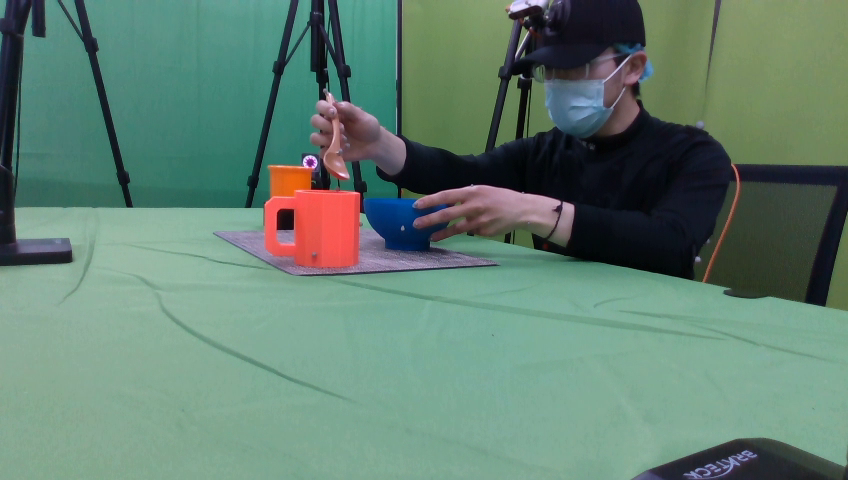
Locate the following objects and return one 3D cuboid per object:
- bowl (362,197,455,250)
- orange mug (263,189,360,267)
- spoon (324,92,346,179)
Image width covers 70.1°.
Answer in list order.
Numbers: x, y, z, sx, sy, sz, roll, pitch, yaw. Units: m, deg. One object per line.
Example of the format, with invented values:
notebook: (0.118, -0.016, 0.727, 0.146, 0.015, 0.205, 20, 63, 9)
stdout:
bowl: (-0.027, -0.028, 0.984, 0.151, 0.077, 0.151, 2, 7, 0)
orange mug: (-0.147, -0.019, 0.795, 0.127, 0.100, 0.083, 5, 6, -20)
spoon: (-0.129, -0.153, 0.859, 0.021, 0.193, 0.042, -27, -44, 20)
